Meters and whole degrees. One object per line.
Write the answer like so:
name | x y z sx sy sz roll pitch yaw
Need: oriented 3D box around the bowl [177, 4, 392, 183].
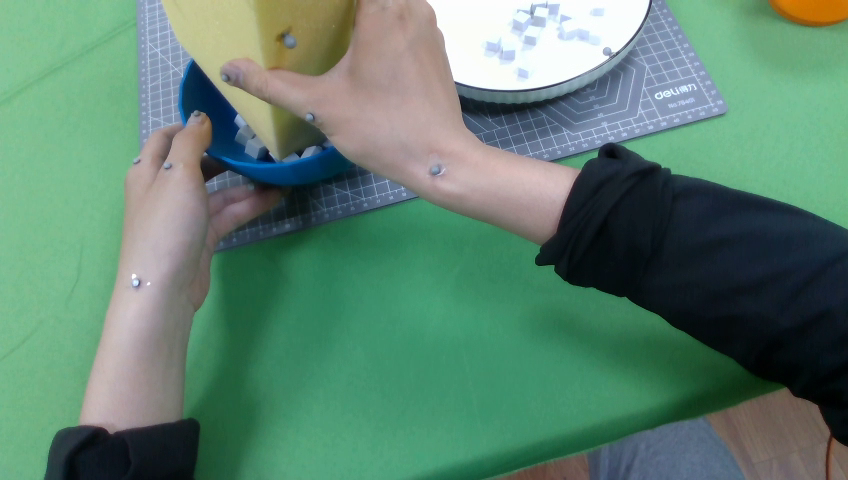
bowl | -0.092 -0.097 0.448 0.151 0.077 0.150 -3 64 6

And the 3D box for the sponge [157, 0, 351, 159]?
sponge | -0.102 -0.141 0.339 0.061 0.207 0.118 -40 86 -17

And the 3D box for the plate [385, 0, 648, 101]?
plate | 0.073 -0.194 0.495 0.209 0.038 0.207 -3 65 6
